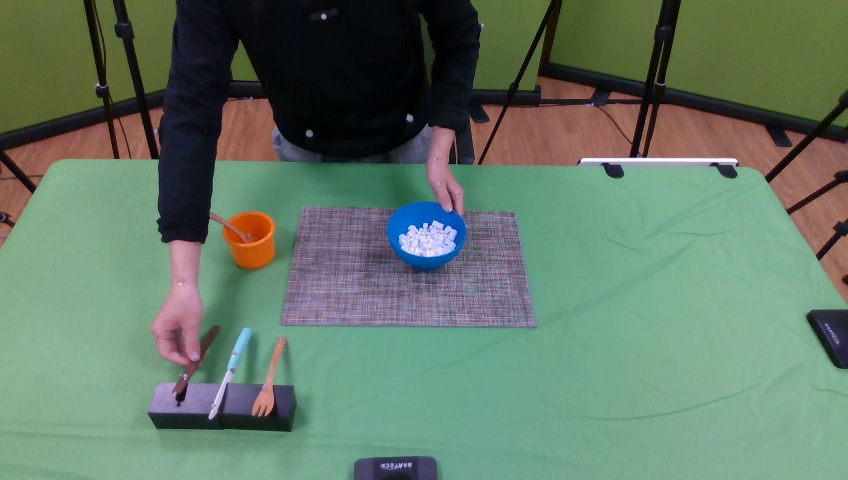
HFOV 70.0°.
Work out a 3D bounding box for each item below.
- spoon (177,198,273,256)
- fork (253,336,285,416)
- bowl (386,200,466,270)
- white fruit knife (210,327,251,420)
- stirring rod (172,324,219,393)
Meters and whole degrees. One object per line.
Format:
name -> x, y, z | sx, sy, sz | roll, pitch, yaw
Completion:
spoon -> -0.361, -0.025, 1.107 | 0.021, 0.195, 0.041 | -32, 37, 29
fork -> -0.235, 0.206, 0.938 | 0.028, 0.019, 0.206 | -3, 27, -3
bowl -> 0.001, 0.003, 1.150 | 0.151, 0.077, 0.150 | 2, 46, -2
white fruit knife -> -0.298, 0.200, 0.937 | 0.016, 0.027, 0.206 | 1, 30, -1
stirring rod -> -0.360, 0.185, 0.963 | 0.014, 0.006, 0.175 | 1, 26, 1
